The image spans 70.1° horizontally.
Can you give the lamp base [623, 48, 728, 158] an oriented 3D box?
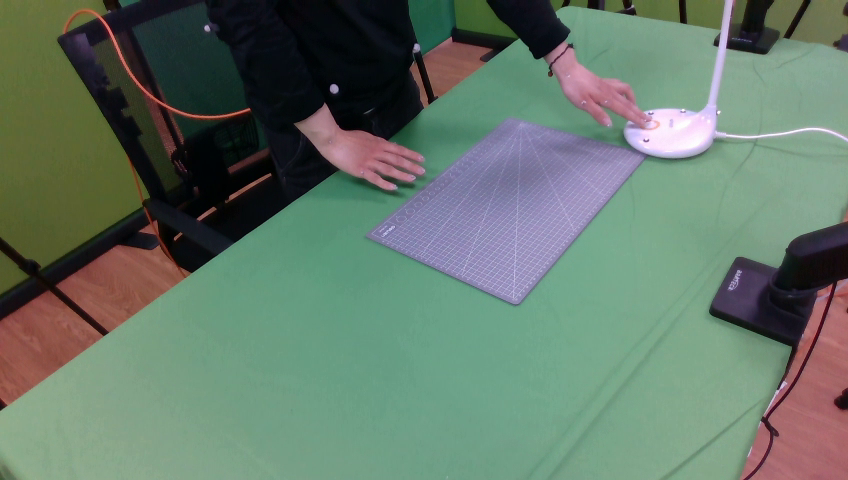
[{"bbox_3d":[0.463,-0.260,1.084,0.179,0.181,0.160,3,42,7],"label":"lamp base"}]
